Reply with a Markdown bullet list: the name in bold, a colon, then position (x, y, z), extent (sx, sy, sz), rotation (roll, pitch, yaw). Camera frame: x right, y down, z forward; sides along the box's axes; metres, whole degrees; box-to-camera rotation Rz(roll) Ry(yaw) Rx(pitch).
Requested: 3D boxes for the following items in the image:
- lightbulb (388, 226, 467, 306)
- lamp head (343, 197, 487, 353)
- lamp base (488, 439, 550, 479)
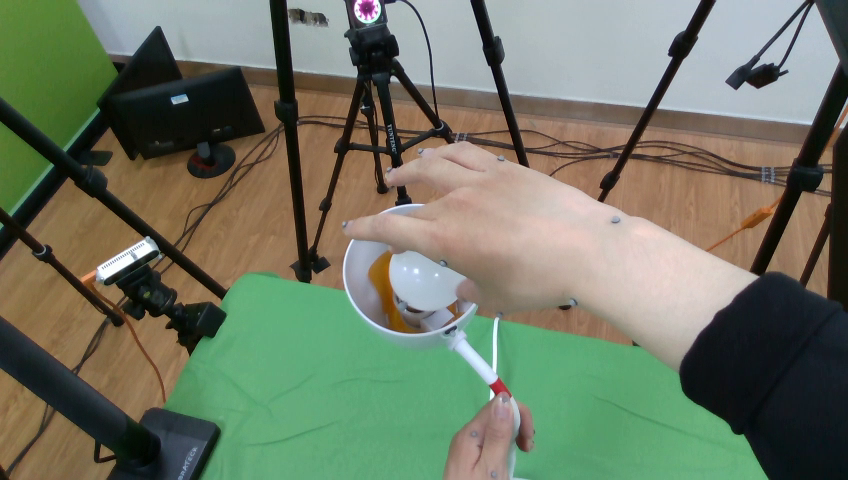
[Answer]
- **lightbulb**: position (-0.001, 0.028, 0.478), extent (0.060, 0.108, 0.059), rotation (4, 67, -9)
- **lamp head**: position (-0.002, 0.042, 0.507), extent (0.112, 0.124, 0.111), rotation (-3, 60, 5)
- **lamp base**: position (0.106, 0.298, 0.650), extent (0.161, 0.182, 0.177), rotation (-23, 51, -11)
